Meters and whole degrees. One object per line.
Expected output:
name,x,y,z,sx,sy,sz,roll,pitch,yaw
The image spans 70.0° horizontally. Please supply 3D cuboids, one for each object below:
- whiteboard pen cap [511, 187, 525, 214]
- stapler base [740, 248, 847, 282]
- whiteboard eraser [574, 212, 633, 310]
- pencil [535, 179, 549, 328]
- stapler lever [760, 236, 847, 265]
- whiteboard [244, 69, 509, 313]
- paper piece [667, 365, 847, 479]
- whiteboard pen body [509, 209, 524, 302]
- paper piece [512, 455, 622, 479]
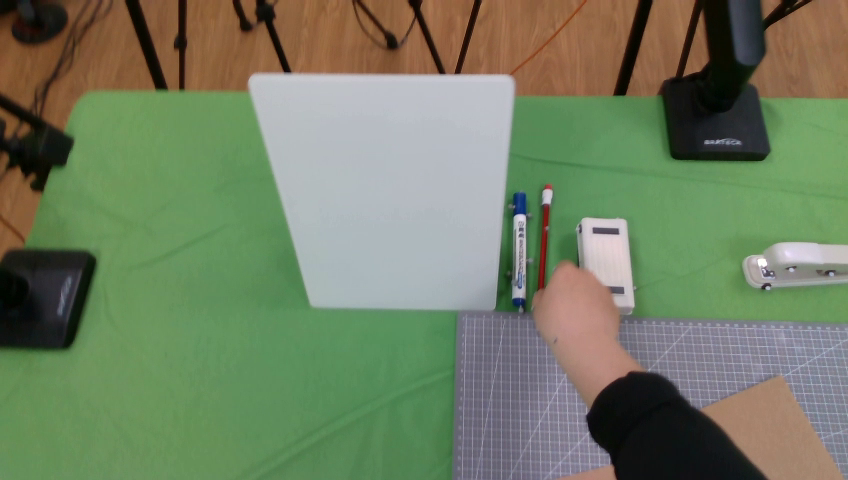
whiteboard pen cap,0.116,-0.048,0.744,0.018,0.018,0.033,0,64,3
stapler base,0.434,0.022,0.694,0.130,0.024,0.041,-3,68,-1
whiteboard eraser,0.204,0.024,0.695,0.055,0.042,0.112,0,66,4
pencil,0.140,0.012,0.719,0.012,0.012,0.192,5,65,6
stapler lever,0.434,0.012,0.673,0.118,0.040,0.026,-4,68,1
whiteboard,-0.029,-0.074,0.640,0.217,0.308,0.142,1,46,4
paper piece,0.341,0.216,0.617,0.136,0.009,0.137,-21,68,-2
whiteboard pen body,0.110,0.006,0.722,0.017,0.017,0.139,2,64,4
paper piece,0.146,0.294,0.591,0.135,0.004,0.134,-12,66,-3
